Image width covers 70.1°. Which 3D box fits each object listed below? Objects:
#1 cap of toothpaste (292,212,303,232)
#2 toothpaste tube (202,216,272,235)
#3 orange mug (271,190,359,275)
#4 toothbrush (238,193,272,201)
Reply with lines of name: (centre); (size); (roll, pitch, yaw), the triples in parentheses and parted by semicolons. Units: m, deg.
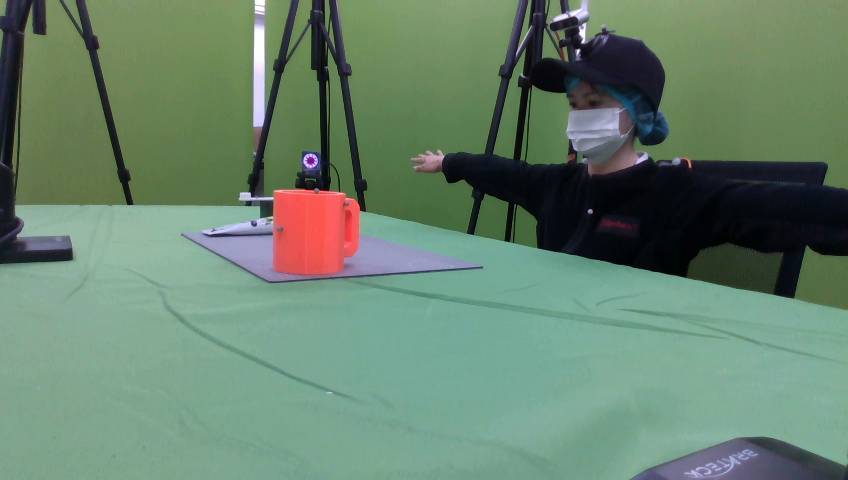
cap of toothpaste: (-0.229, -0.032, 1.094); (0.011, 0.037, 0.037); (-7, 12, -34)
toothpaste tube: (-0.296, -0.023, 1.053); (0.166, 0.034, 0.055); (-7, 5, -34)
orange mug: (-0.131, -0.013, 0.754); (0.083, 0.101, 0.127); (8, 13, 38)
toothbrush: (-0.286, -0.087, 1.236); (0.183, 0.016, 0.014); (-1, 4, -30)
